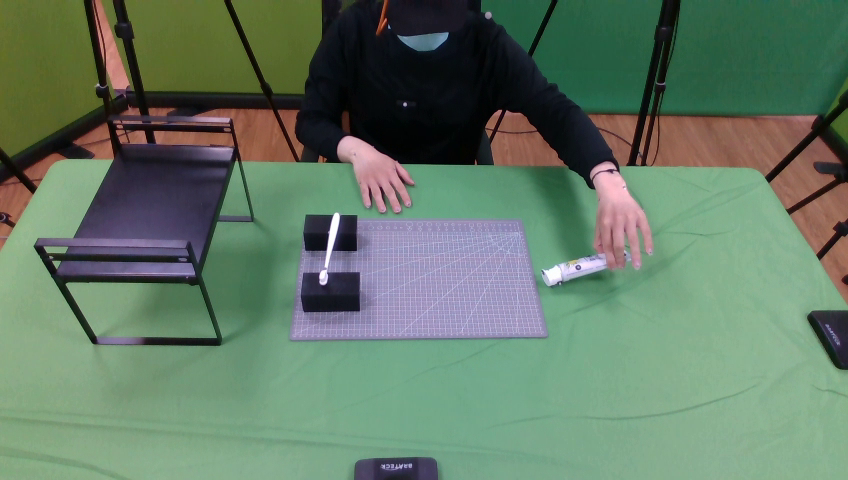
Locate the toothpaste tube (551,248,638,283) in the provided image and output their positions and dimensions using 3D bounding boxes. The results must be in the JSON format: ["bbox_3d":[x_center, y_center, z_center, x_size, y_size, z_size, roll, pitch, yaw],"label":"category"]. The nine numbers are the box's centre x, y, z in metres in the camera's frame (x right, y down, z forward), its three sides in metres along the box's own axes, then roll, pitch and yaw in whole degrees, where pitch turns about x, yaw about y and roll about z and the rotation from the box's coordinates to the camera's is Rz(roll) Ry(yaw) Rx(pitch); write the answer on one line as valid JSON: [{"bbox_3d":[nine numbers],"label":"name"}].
[{"bbox_3d":[0.312,0.045,1.135,0.165,0.034,0.055,-17,21,-3],"label":"toothpaste tube"}]

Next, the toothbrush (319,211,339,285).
[{"bbox_3d":[-0.172,0.009,1.103,0.014,0.017,0.180,-6,44,9],"label":"toothbrush"}]

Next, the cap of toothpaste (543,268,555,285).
[{"bbox_3d":[0.234,0.067,1.133,0.011,0.037,0.037,-23,51,-9],"label":"cap of toothpaste"}]
